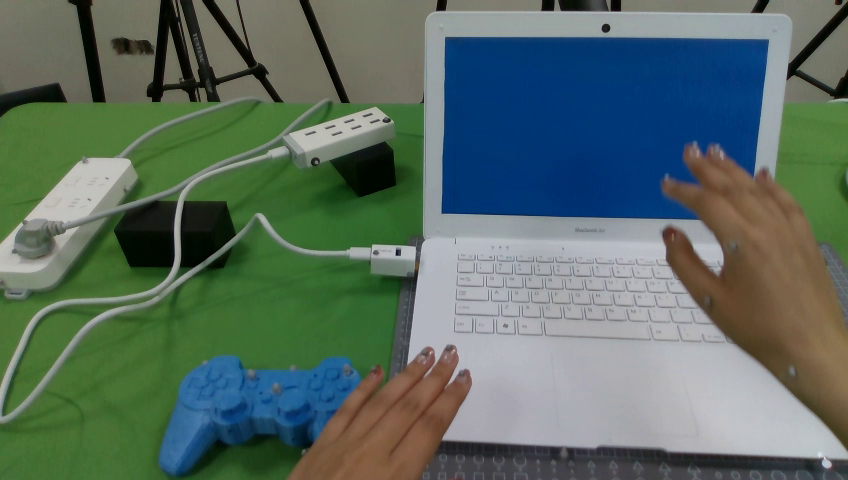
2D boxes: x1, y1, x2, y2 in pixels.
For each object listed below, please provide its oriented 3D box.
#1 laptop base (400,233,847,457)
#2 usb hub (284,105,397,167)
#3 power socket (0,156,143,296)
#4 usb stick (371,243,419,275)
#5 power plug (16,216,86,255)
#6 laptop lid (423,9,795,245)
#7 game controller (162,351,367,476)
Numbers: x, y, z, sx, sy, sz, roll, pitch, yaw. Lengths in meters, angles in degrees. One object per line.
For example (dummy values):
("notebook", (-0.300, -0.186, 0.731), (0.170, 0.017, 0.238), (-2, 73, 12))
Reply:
("laptop base", (0.165, 0.082, 0.545), (0.354, 0.023, 0.233), (2, 44, 4))
("usb hub", (-0.097, -0.124, 0.716), (0.125, 0.025, 0.049), (-24, 46, -22))
("power socket", (-0.397, -0.027, 0.684), (0.072, 0.033, 0.224), (3, 40, 5))
("usb stick", (-0.023, 0.019, 0.603), (0.059, 0.027, 0.021), (6, 39, -4))
("power plug", (-0.375, 0.003, 0.610), (0.072, 0.053, 0.035), (12, 41, 12))
("laptop lid", (0.175, -0.107, 0.608), (0.356, 0.242, 0.013), (0, 12, 4))
("game controller", (-0.120, 0.130, 0.478), (0.155, 0.052, 0.096), (2, 36, 3))
